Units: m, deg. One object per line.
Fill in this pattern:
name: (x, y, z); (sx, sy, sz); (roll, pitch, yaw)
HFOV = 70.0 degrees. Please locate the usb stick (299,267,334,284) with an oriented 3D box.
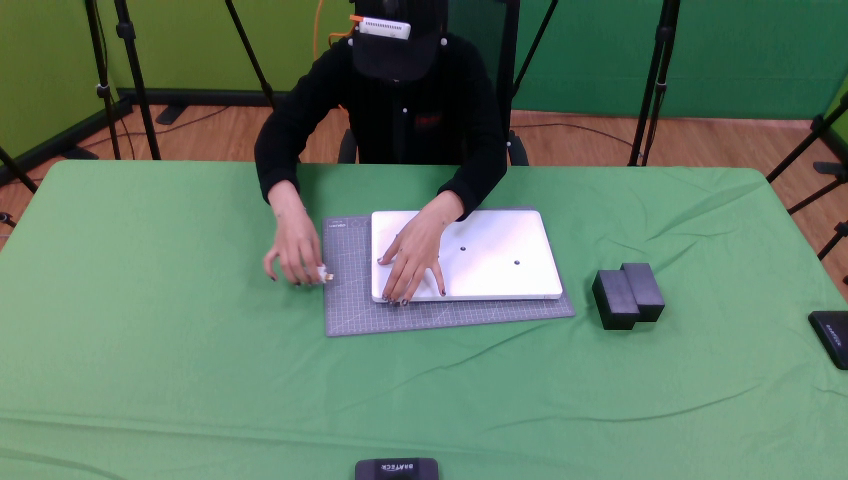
usb stick: (-0.192, 0.064, 1.086); (0.059, 0.027, 0.021); (3, 47, 8)

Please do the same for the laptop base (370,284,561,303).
laptop base: (0.073, 0.029, 1.179); (0.355, 0.023, 0.234); (-1, 43, -5)

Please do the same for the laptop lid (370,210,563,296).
laptop lid: (0.073, 0.019, 1.172); (0.357, 0.013, 0.240); (1, 44, -4)
